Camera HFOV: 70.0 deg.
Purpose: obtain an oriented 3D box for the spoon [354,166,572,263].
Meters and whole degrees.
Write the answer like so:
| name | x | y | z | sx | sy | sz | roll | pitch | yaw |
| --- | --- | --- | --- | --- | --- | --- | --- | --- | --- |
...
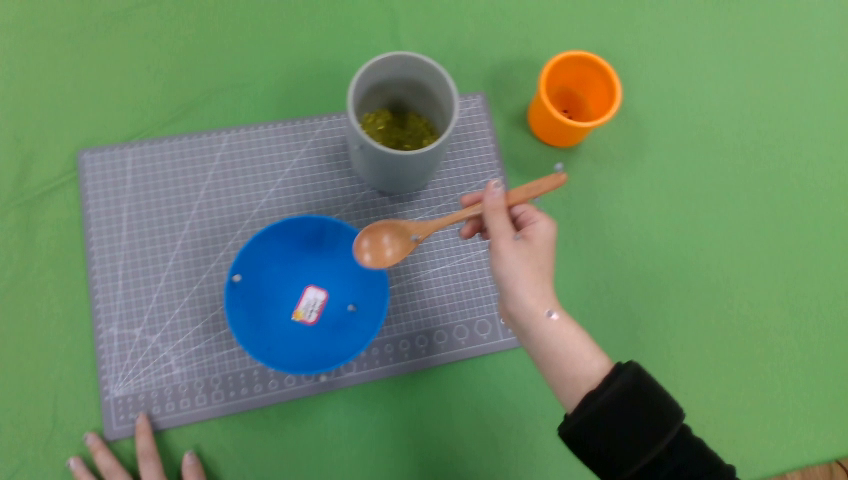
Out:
| name | x | y | z | sx | sy | sz | roll | pitch | yaw |
| --- | --- | --- | --- | --- | --- | --- | --- | --- | --- |
| spoon | 0.029 | -0.023 | 0.507 | 0.193 | 0.022 | 0.041 | -19 | 84 | 20 |

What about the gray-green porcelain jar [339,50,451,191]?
| name | x | y | z | sx | sy | sz | roll | pitch | yaw |
| --- | --- | --- | --- | --- | --- | --- | --- | --- | --- |
| gray-green porcelain jar | -0.033 | -0.114 | 0.621 | 0.106 | 0.127 | 0.105 | 2 | 76 | -7 |

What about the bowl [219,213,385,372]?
| name | x | y | z | sx | sy | sz | roll | pitch | yaw |
| --- | --- | --- | --- | --- | --- | --- | --- | --- | --- |
| bowl | -0.115 | 0.056 | 0.594 | 0.152 | 0.077 | 0.150 | 2 | 76 | -7 |
